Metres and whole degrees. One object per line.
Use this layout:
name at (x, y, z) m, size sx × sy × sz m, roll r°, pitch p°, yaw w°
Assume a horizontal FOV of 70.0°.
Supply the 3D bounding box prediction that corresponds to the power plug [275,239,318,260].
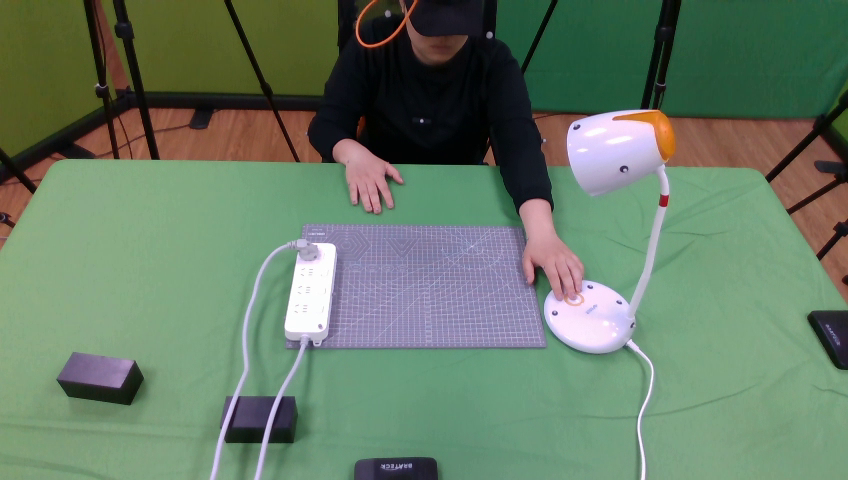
power plug at (-0.232, 0.018, 1.120) m, size 0.072 × 0.053 × 0.035 m, roll 9°, pitch 46°, yaw 6°

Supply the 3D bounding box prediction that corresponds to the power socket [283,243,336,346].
power socket at (-0.202, 0.088, 1.086) m, size 0.072 × 0.033 × 0.225 m, roll 1°, pitch 46°, yaw -2°

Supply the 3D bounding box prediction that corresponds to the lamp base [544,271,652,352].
lamp base at (0.310, 0.086, 1.029) m, size 0.178 × 0.181 × 0.160 m, roll 32°, pitch 52°, yaw 21°

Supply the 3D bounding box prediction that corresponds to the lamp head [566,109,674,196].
lamp head at (0.272, -0.123, 0.818) m, size 0.122 × 0.113 × 0.112 m, roll -9°, pitch 35°, yaw 37°
